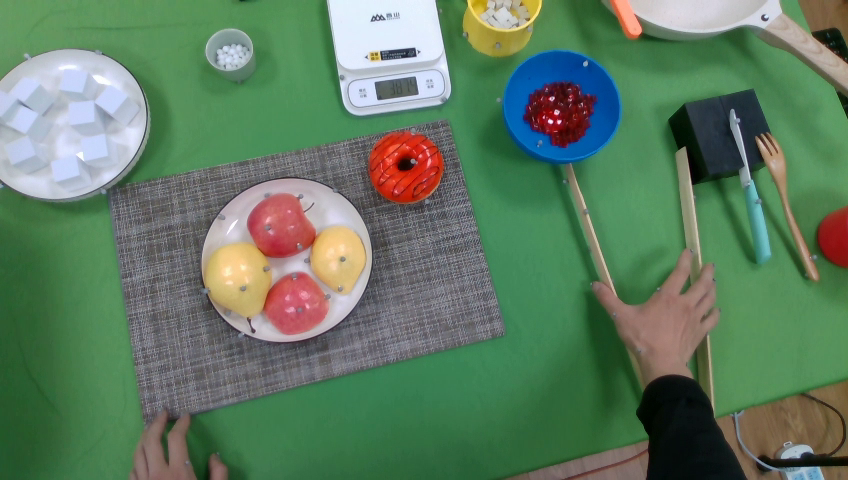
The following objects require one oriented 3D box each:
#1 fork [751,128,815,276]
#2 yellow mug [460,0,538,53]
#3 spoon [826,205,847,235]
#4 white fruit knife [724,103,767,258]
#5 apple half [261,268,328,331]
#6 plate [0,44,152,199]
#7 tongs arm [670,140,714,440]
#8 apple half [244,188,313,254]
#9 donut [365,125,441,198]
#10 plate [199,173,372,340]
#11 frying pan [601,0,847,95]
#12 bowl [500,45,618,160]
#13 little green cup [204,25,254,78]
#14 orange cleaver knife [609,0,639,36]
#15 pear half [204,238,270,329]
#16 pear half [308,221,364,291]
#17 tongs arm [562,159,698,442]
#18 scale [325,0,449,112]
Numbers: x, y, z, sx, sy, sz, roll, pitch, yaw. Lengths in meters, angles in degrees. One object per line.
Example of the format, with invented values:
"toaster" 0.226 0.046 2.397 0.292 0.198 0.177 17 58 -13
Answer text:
"fork" 0.472 -0.049 0.792 0.028 0.018 0.207 -23 96 -9
"yellow mug" 0.090 -0.328 0.829 0.130 0.064 0.100 43 80 7
"spoon" 0.578 0.011 0.744 0.041 0.022 0.191 -18 35 -7
"white fruit knife" 0.415 -0.076 0.787 0.016 0.027 0.207 -15 94 -6
"apple half" -0.161 0.070 0.733 0.081 0.033 0.081 0 70 -1
"plate" -0.453 -0.150 0.777 0.208 0.039 0.206 1 78 -3
"tongs arm" 0.342 0.056 0.784 0.028 0.028 0.385 2 78 -12
"apple half" -0.182 -0.025 0.743 0.075 0.053 0.080 -25 83 -5
"donut" -0.028 -0.101 0.782 0.099 0.048 0.098 0 79 0
"plate" -0.168 0.020 0.752 0.209 0.038 0.208 1 78 -3
"frying pan" 0.421 -0.342 0.830 0.306 0.103 0.485 -40 75 -9
"bowl" 0.168 -0.168 0.794 0.151 0.077 0.150 1 79 -3
"little green cup" -0.257 -0.249 0.808 0.061 0.039 0.061 1 78 -2
"orange cleaver knife" 0.247 -0.370 0.807 0.077 0.012 0.210 -23 81 -11
"pear half" -0.218 0.051 0.721 0.076 0.056 0.109 -19 83 -16
"pear half" -0.112 0.018 0.749 0.070 0.031 0.087 -14 77 8
"tongs arm" 0.257 0.069 0.771 0.051 0.026 0.383 -14 80 -11
"scale" -0.052 -0.280 0.829 0.149 0.031 0.200 -9 79 -4
